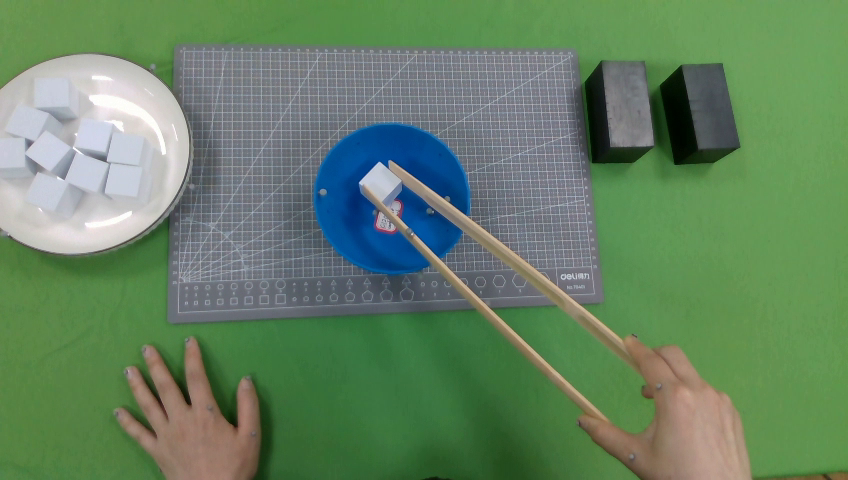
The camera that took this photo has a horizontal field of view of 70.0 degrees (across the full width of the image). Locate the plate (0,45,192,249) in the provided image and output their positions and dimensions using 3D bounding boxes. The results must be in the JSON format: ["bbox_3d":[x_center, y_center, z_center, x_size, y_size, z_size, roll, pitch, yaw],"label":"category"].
[{"bbox_3d":[-0.336,-0.090,0.603,0.208,0.039,0.206,1,79,-6],"label":"plate"}]

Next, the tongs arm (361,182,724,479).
[{"bbox_3d":[0.080,0.064,0.518,0.051,0.027,0.381,-37,66,-16],"label":"tongs arm"}]

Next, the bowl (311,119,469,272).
[{"bbox_3d":[-0.036,-0.036,0.608,0.152,0.077,0.150,2,78,-7],"label":"bowl"}]

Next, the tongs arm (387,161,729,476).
[{"bbox_3d":[0.097,0.049,0.525,0.028,0.028,0.384,-39,67,-21],"label":"tongs arm"}]
